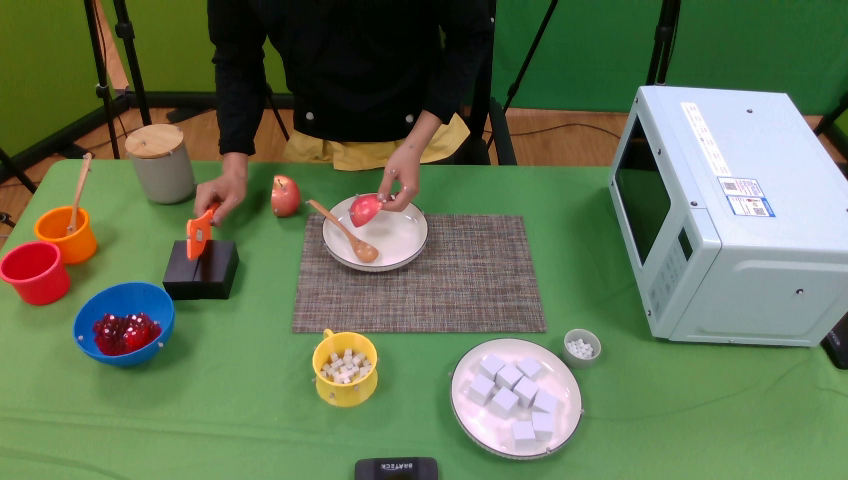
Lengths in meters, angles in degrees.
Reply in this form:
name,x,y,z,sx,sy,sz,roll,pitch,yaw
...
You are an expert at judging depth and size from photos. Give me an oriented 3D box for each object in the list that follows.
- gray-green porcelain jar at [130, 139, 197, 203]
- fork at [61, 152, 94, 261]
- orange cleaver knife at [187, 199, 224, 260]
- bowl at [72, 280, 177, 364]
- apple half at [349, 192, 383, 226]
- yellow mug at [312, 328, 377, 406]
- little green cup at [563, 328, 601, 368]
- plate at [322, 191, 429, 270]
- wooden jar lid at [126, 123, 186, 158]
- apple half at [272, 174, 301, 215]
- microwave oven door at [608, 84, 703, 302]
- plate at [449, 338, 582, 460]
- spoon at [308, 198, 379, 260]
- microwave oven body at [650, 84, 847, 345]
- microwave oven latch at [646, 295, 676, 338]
name,x,y,z,sx,sy,sz,roll,pitch,yaw
gray-green porcelain jar,-0.522,-0.148,1.224,0.106,0.127,0.105,2,47,-2
fork,-0.637,-0.063,1.119,0.028,0.019,0.207,11,90,17
orange cleaver knife,-0.400,-0.023,1.116,0.012,0.077,0.210,3,18,-3
bowl,-0.473,0.147,0.982,0.151,0.077,0.150,2,46,-2
apple half,-0.115,-0.068,1.151,0.081,0.033,0.081,-30,35,25
yellow mug,-0.132,0.193,0.971,0.100,0.064,0.130,-22,51,-23
little green cup,0.265,0.185,1.025,0.061,0.039,0.061,1,45,-1
plate,-0.093,-0.015,1.185,0.209,0.038,0.208,2,46,-2
wooden jar lid,-0.519,-0.190,1.179,0.108,0.021,0.107,2,44,-2
apple half,-0.276,-0.090,1.225,0.053,0.075,0.080,1,42,-7
microwave oven door,0.424,-0.096,1.138,0.039,0.245,0.353,3,47,-1
plate,0.141,0.251,0.956,0.208,0.039,0.206,2,46,-2
spoon,-0.159,-0.025,1.172,0.041,0.022,0.193,-36,69,-30
microwave oven body,0.569,-0.054,1.116,0.326,0.261,0.439,2,46,-1
microwave oven latch,0.413,0.133,1.060,0.030,0.029,0.078,4,46,1
